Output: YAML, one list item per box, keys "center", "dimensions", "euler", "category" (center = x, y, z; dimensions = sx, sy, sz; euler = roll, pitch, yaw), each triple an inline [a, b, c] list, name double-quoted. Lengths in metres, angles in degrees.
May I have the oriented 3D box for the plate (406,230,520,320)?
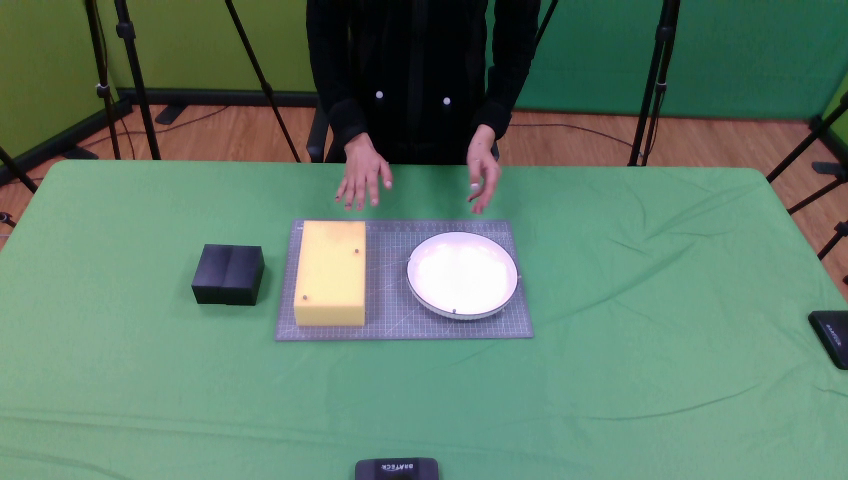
- center: [0.070, 0.067, 1.122]
  dimensions: [0.209, 0.038, 0.208]
  euler: [2, 46, -2]
  category: "plate"

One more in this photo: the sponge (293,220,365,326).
- center: [-0.167, 0.056, 1.101]
  dimensions: [0.118, 0.061, 0.205]
  euler: [-1, 47, -4]
  category: "sponge"
